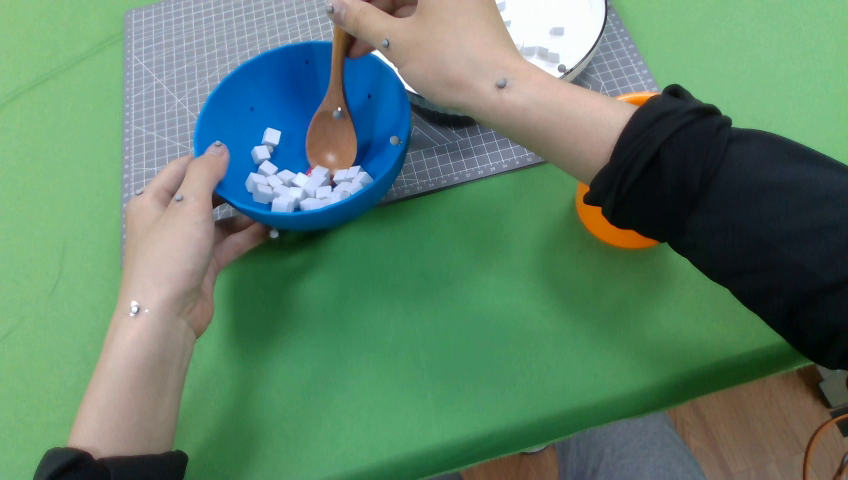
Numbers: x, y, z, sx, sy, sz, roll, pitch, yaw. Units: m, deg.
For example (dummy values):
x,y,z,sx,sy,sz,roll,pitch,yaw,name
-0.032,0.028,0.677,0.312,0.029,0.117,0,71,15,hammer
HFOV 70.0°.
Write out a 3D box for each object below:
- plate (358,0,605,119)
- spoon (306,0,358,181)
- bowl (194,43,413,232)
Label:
x,y,z,sx,sy,sz,roll,pitch,yaw,name
0.047,-0.184,0.525,0.209,0.038,0.207,-3,63,6,plate
-0.054,-0.118,0.401,0.041,0.195,0.021,25,46,8,spoon
-0.080,-0.062,0.446,0.151,0.077,0.150,-2,63,4,bowl
